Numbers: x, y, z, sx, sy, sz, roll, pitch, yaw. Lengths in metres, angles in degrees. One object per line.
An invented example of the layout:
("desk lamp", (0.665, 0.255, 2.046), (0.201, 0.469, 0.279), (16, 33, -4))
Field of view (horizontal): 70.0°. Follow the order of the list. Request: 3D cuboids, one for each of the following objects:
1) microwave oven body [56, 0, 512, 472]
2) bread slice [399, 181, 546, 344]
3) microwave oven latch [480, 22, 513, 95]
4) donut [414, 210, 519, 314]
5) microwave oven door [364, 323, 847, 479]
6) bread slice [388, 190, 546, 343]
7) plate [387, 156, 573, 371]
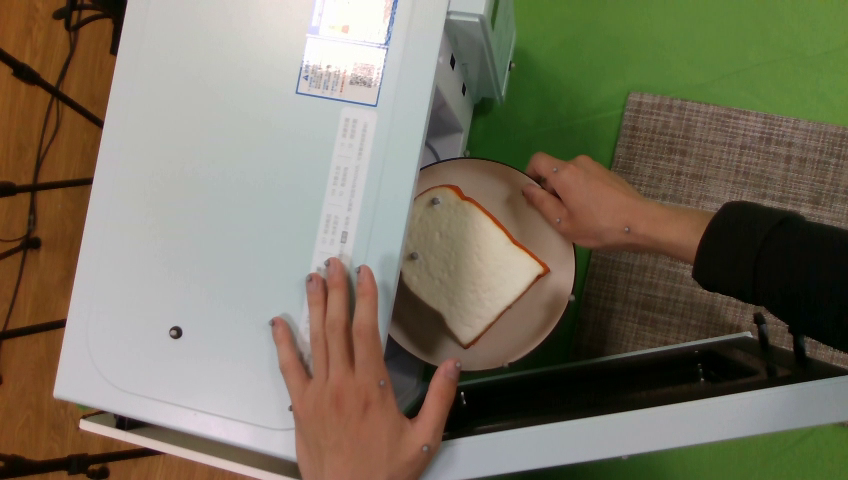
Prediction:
("microwave oven body", (-0.116, -0.058, 0.596), (0.325, 0.261, 0.441), (11, 91, 10))
("bread slice", (0.026, 0.015, 0.542), (0.131, 0.019, 0.105), (45, 101, 7))
("microwave oven latch", (0.079, -0.202, 0.661), (0.030, 0.029, 0.079), (11, 91, 10))
("donut", (0.040, 0.020, 0.565), (0.099, 0.048, 0.099), (0, 84, 3))
("microwave oven door", (0.147, 0.138, 0.538), (0.355, 0.244, 0.039), (-13, 86, 10))
("bread slice", (0.031, 0.019, 0.585), (0.133, 0.018, 0.107), (42, 90, 15))
("plate", (0.040, 0.023, 0.596), (0.207, 0.039, 0.207), (0, 89, 9))
